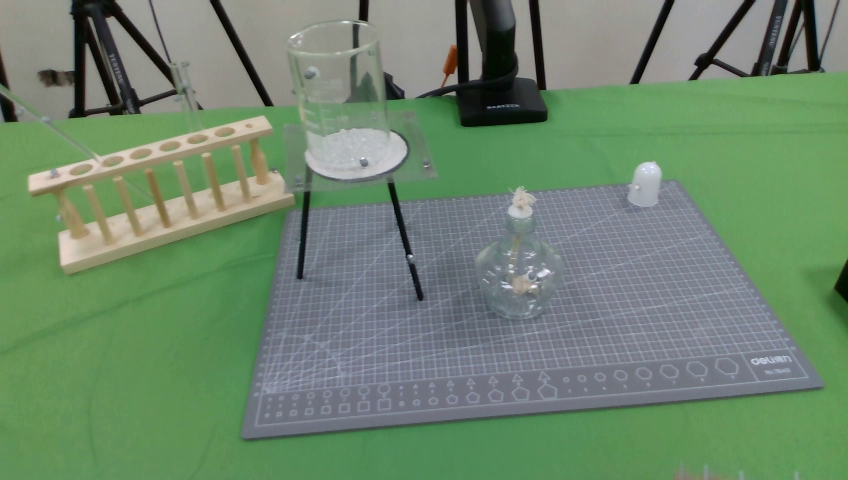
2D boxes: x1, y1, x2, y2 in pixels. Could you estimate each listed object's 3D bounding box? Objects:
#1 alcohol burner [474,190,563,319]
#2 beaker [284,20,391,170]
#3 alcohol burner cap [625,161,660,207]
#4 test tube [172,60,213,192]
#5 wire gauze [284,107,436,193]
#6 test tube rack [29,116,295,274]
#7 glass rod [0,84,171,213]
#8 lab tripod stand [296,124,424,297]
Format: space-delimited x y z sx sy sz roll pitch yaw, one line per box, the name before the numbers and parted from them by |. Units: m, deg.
alcohol burner | 0.082 0.009 0.521 0.078 0.120 0.077 -2 37 2
beaker | -0.068 -0.115 0.488 0.083 0.101 0.073 15 42 24
alcohol burner cap | 0.239 -0.064 0.659 0.034 0.048 0.033 -2 38 2
test tube | -0.243 -0.117 0.651 0.017 0.151 0.017 -1 36 1
wire gauze | -0.060 -0.078 0.519 0.125 0.011 0.120 -10 37 -4
test tube rack | -0.273 -0.053 0.653 0.243 0.086 0.066 -20 41 -20
glass rod | -0.333 -0.084 0.606 0.008 0.202 0.008 -19 48 23
lab tripod stand | -0.056 -0.027 0.560 0.148 0.133 0.147 -2 40 2
